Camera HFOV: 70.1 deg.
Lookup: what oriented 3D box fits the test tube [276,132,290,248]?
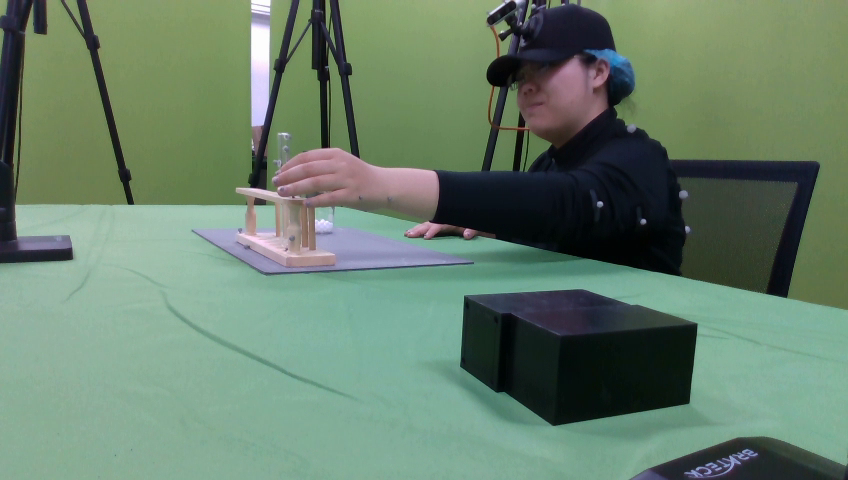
[{"bbox_3d":[-0.181,-0.064,0.779,0.017,0.150,0.017,0,9,0],"label":"test tube"}]

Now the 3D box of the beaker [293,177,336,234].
[{"bbox_3d":[-0.198,-0.063,1.107,0.083,0.100,0.074,10,11,40],"label":"beaker"}]

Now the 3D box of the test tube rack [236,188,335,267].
[{"bbox_3d":[-0.203,-0.024,0.855,0.067,0.085,0.241,-2,9,-31],"label":"test tube rack"}]
